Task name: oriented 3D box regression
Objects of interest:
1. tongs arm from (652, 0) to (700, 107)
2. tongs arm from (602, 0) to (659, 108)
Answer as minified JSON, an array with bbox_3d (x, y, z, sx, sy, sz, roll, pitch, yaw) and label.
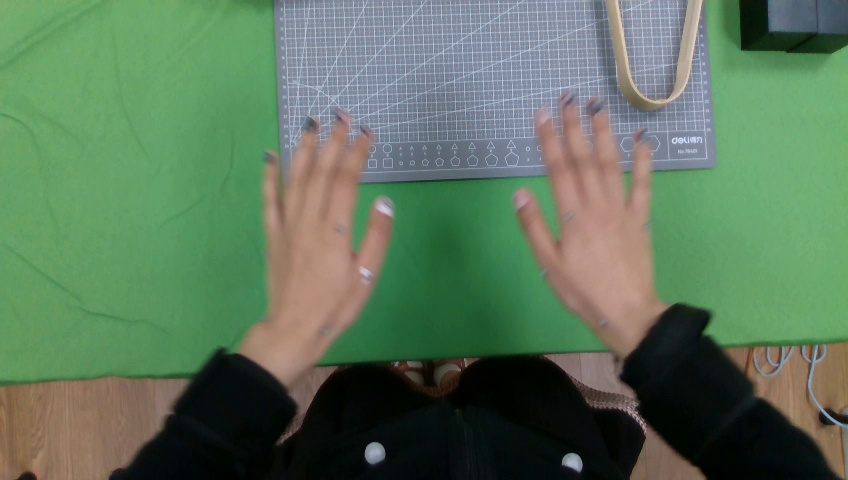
[{"bbox_3d":[0.283,-0.326,0.633,0.028,0.027,0.387,10,87,-9],"label":"tongs arm"},{"bbox_3d":[0.196,-0.327,0.626,0.051,0.026,0.384,-5,88,-6],"label":"tongs arm"}]
